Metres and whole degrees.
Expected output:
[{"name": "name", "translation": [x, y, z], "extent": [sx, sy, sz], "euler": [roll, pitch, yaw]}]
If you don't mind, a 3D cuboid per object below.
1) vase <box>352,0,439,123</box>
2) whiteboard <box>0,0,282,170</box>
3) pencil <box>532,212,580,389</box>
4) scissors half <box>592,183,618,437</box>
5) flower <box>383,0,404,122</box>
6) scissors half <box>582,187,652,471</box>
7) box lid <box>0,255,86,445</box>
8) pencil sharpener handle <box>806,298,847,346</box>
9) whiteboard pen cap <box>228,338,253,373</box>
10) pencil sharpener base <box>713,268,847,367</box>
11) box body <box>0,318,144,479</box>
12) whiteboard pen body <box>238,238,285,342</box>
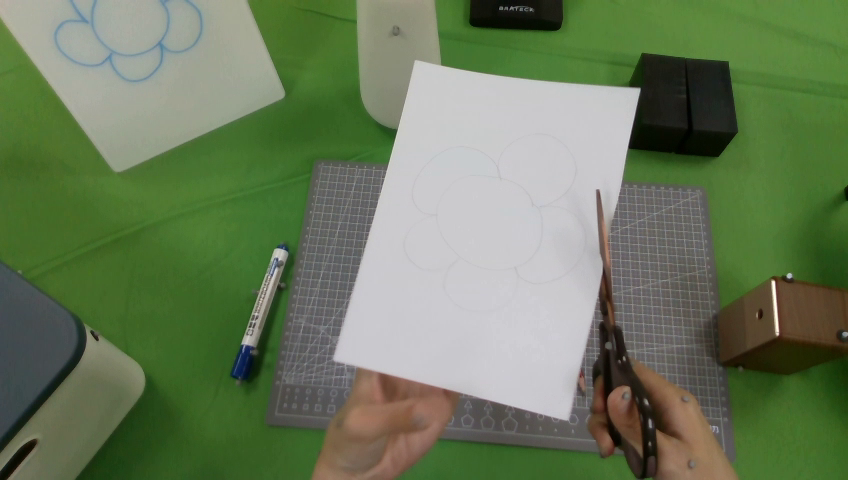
[{"name": "vase", "translation": [-0.032, -0.215, 0.649], "extent": [0.098, 0.201, 0.097], "euler": [0, 65, 1]}, {"name": "whiteboard", "translation": [-0.322, -0.271, 0.646], "extent": [0.217, 0.308, 0.142], "euler": [-28, 50, -11]}, {"name": "pencil", "translation": [0.138, 0.059, 0.632], "extent": [0.012, 0.012, 0.192], "euler": [-8, 69, -4]}, {"name": "scissors half", "translation": [0.116, 0.049, 0.394], "extent": [0.013, 0.040, 0.176], "euler": [-8, 109, 3]}, {"name": "flower", "translation": [-0.038, -0.261, 0.578], "extent": [0.044, 0.365, 0.038], "euler": [-2, 49, 3]}, {"name": "scissors half", "translation": [0.115, 0.049, 0.370], "extent": [0.013, 0.040, 0.174], "euler": [-8, 74, -2]}, {"name": "box lid", "translation": [-0.474, 0.077, 0.458], "extent": [0.370, 0.015, 0.262], "euler": [30, 69, 12]}, {"name": "pencil sharpener handle", "translation": [0.386, 0.081, 0.561], "extent": [0.030, 0.068, 0.035], "euler": [8, 60, 0]}, {"name": "whiteboard pen cap", "translation": [-0.180, 0.113, 0.601], "extent": [0.018, 0.018, 0.033], "euler": [11, 62, 5]}, {"name": "pencil sharpener base", "translation": [0.335, 0.077, 0.573], "extent": [0.077, 0.107, 0.061], "euler": [8, 66, 0]}, {"name": "box body", "translation": [-0.472, 0.108, 0.525], "extent": [0.362, 0.161, 0.253], "euler": [30, 70, 12]}, {"name": "whiteboard pen body", "translation": [-0.170, 0.061, 0.625], "extent": [0.017, 0.017, 0.140], "euler": [11, 65, 5]}]
